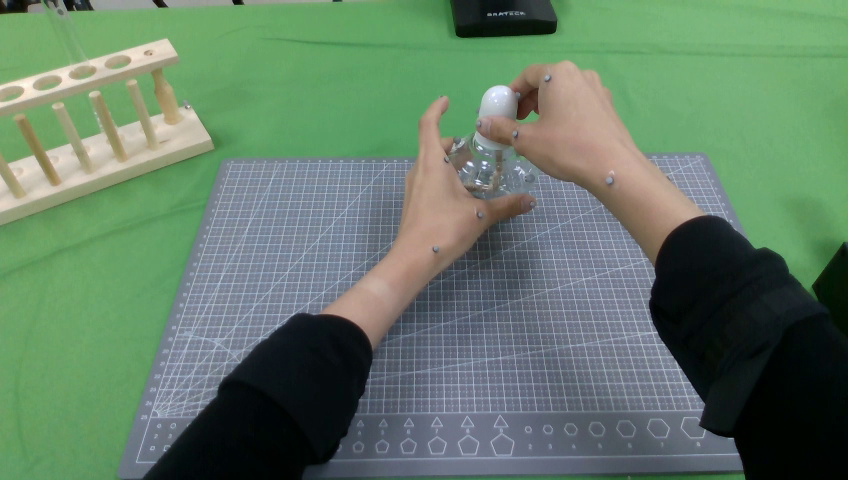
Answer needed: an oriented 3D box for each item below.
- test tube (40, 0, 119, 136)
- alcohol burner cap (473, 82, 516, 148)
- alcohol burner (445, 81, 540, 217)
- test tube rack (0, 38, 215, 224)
[{"bbox_3d":[-0.294,-0.155,0.512,0.017,0.151,0.017,-3,39,3],"label":"test tube"},{"bbox_3d":[0.055,-0.098,0.462,0.034,0.048,0.033,0,46,1],"label":"alcohol burner cap"},{"bbox_3d":[0.056,-0.076,0.485,0.078,0.120,0.077,0,48,0],"label":"alcohol burner"},{"bbox_3d":[-0.320,-0.089,0.523,0.242,0.086,0.066,-25,52,-20],"label":"test tube rack"}]
